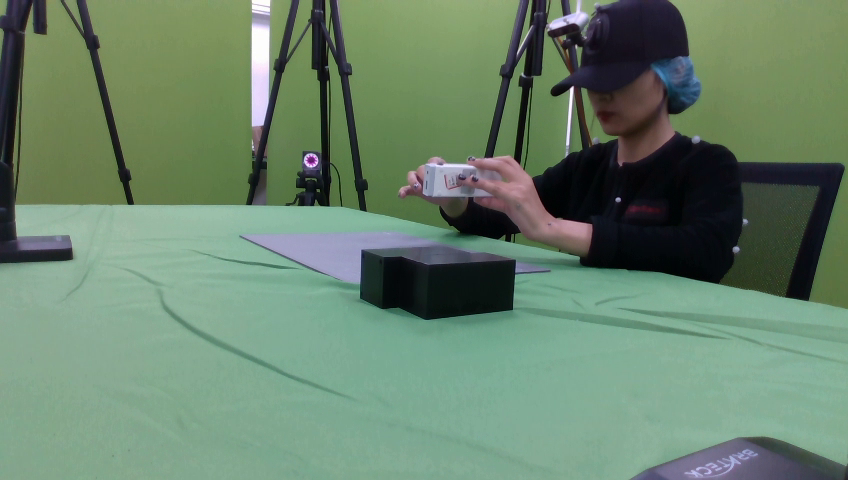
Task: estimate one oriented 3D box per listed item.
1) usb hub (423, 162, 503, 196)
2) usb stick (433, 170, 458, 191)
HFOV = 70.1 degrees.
[{"bbox_3d":[0.061,-0.094,0.925,0.126,0.049,0.025,-3,16,-24],"label":"usb hub"},{"bbox_3d":[0.037,-0.095,0.965,0.021,0.027,0.059,7,-4,-24],"label":"usb stick"}]
